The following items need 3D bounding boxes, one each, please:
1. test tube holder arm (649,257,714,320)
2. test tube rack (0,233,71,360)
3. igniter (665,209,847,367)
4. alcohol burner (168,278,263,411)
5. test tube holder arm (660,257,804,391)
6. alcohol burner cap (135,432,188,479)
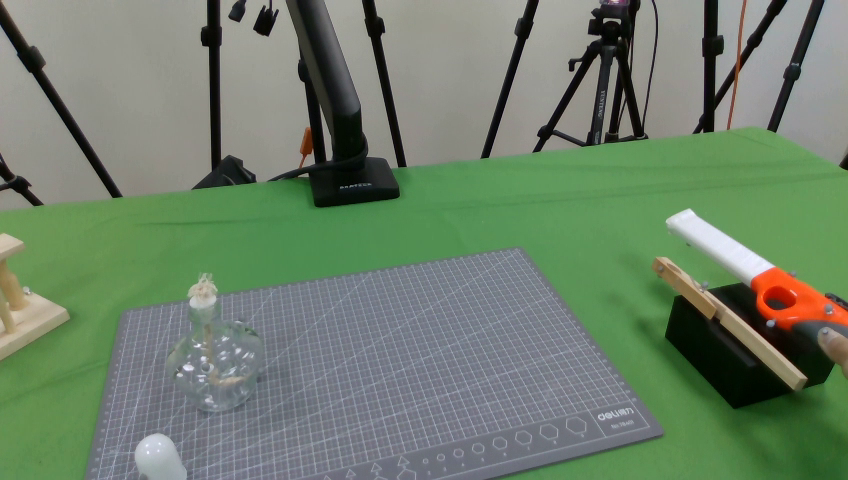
[{"bbox_3d":[0.244,0.044,0.573,0.010,0.015,0.087,-2,31,-21],"label":"test tube holder arm"},{"bbox_3d":[-0.453,0.092,0.527,0.066,0.086,0.242,17,36,25],"label":"test tube rack"},{"bbox_3d":[0.315,0.041,0.550,0.057,0.025,0.273,-25,33,-3],"label":"igniter"},{"bbox_3d":[-0.177,0.084,0.508,0.078,0.120,0.077,0,30,0],"label":"alcohol burner"},{"bbox_3d":[0.264,0.067,0.539,0.013,0.015,0.176,-2,31,-21],"label":"test tube holder arm"},{"bbox_3d":[-0.197,0.164,0.448,0.034,0.048,0.033,0,32,0],"label":"alcohol burner cap"}]
